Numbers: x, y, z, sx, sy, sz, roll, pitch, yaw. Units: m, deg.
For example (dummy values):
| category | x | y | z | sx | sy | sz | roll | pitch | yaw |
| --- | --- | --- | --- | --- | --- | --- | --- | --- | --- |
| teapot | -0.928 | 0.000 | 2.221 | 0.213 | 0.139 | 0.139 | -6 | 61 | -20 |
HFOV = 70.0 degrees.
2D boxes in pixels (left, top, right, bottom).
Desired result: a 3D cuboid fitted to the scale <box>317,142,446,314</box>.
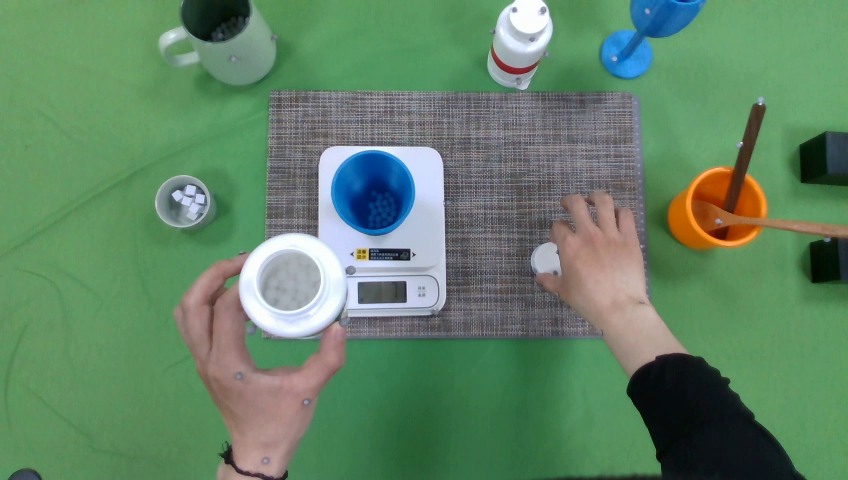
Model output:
| category | x | y | z | sx | sy | sz | roll | pitch | yaw |
| --- | --- | --- | --- | --- | --- | --- | --- | --- | --- |
| scale | -0.051 | -0.015 | 0.709 | 0.149 | 0.031 | 0.200 | -1 | 83 | -1 |

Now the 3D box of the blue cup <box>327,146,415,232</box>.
| category | x | y | z | sx | sy | sz | roll | pitch | yaw |
| --- | --- | --- | --- | --- | --- | --- | --- | --- | --- |
| blue cup | -0.053 | -0.046 | 0.647 | 0.093 | 0.100 | 0.092 | 0 | 84 | -3 |

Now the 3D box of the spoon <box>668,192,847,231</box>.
| category | x | y | z | sx | sy | sz | roll | pitch | yaw |
| --- | --- | --- | --- | --- | --- | --- | --- | --- | --- |
| spoon | 0.365 | -0.026 | 0.667 | 0.022 | 0.192 | 0.041 | 14 | 89 | -43 |

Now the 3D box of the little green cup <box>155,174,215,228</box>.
| category | x | y | z | sx | sy | sz | roll | pitch | yaw |
| --- | --- | --- | --- | --- | --- | --- | --- | --- | --- |
| little green cup | -0.275 | -0.042 | 0.705 | 0.061 | 0.039 | 0.061 | 1 | 82 | -3 |

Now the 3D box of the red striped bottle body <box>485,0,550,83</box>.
| category | x | y | z | sx | sy | sz | roll | pitch | yaw |
| --- | --- | --- | --- | --- | --- | --- | --- | --- | --- |
| red striped bottle body | 0.108 | -0.234 | 0.703 | 0.063 | 0.120 | 0.063 | 0 | 82 | -2 |

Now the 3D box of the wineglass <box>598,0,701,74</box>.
| category | x | y | z | sx | sy | sz | roll | pitch | yaw |
| --- | --- | --- | --- | --- | --- | --- | --- | --- | --- |
| wineglass | 0.253 | -0.253 | 0.682 | 0.074 | 0.172 | 0.073 | 0 | 81 | -1 |

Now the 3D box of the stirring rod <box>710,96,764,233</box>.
| category | x | y | z | sx | sy | sz | roll | pitch | yaw |
| --- | --- | --- | --- | --- | --- | --- | --- | --- | --- |
| stirring rod | 0.346 | -0.077 | 0.674 | 0.014 | 0.178 | 0.006 | 6 | 41 | 13 |

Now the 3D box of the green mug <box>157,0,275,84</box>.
| category | x | y | z | sx | sy | sz | roll | pitch | yaw |
| --- | --- | --- | --- | --- | --- | --- | --- | --- | --- |
| green mug | -0.243 | -0.233 | 0.700 | 0.125 | 0.105 | 0.092 | -22 | 83 | -4 |

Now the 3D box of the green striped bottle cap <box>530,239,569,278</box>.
| category | x | y | z | sx | sy | sz | roll | pitch | yaw |
| --- | --- | --- | --- | --- | --- | --- | --- | --- | --- |
| green striped bottle cap | 0.149 | 0.022 | 0.717 | 0.044 | 0.020 | 0.044 | 1 | 68 | -2 |

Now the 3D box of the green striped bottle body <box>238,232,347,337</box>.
| category | x | y | z | sx | sy | sz | roll | pitch | yaw |
| --- | --- | --- | --- | --- | --- | --- | --- | --- | --- |
| green striped bottle body | -0.082 | 0.031 | 0.392 | 0.063 | 0.119 | 0.063 | 1 | 81 | -6 |

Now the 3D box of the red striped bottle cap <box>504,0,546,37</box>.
| category | x | y | z | sx | sy | sz | roll | pitch | yaw |
| --- | --- | --- | --- | --- | --- | --- | --- | --- | --- |
| red striped bottle cap | 0.109 | -0.242 | 0.649 | 0.044 | 0.018 | 0.044 | 0 | 79 | -1 |
